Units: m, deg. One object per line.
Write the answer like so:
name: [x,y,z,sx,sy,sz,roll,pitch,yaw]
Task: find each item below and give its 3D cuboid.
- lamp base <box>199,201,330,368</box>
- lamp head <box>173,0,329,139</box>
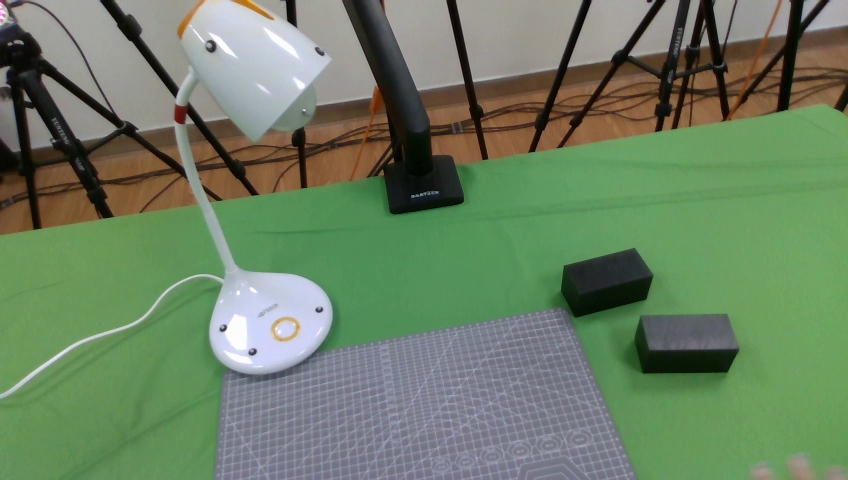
lamp base: [-0.221,0.044,0.757,0.177,0.182,0.160,24,52,30]
lamp head: [-0.171,-0.171,0.567,0.123,0.112,0.111,38,49,-15]
